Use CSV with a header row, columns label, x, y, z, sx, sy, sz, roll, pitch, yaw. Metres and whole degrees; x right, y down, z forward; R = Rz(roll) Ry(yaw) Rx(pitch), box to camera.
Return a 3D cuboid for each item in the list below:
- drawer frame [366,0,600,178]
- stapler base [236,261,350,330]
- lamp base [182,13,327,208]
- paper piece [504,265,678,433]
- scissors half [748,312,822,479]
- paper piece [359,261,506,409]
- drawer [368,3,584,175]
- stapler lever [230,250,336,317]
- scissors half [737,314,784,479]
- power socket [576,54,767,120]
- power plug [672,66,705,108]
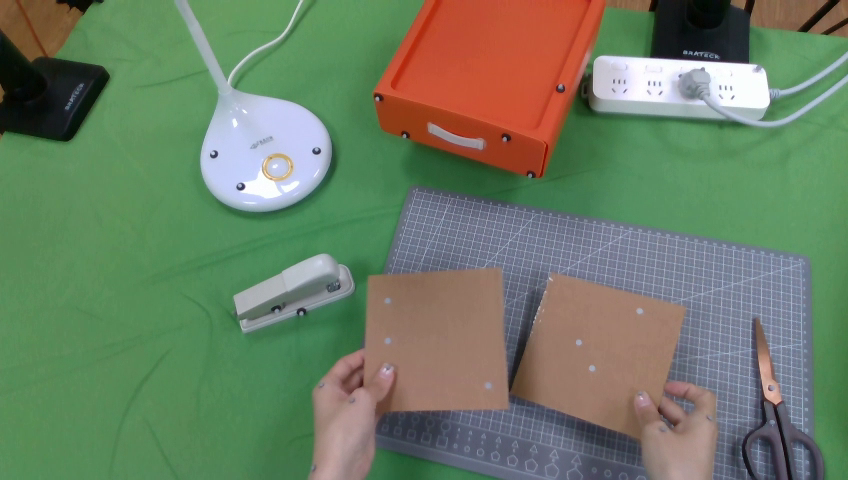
label,x,y,z,sx,sy,sz,roll,pitch,yaw
drawer frame,0.071,-0.203,0.699,0.201,0.083,0.212,19,67,13
stapler base,-0.147,0.056,0.663,0.130,0.024,0.041,-20,61,-5
lamp base,-0.212,-0.152,0.682,0.160,0.182,0.177,-40,65,-16
paper piece,0.160,0.099,0.591,0.134,0.004,0.135,17,69,32
scissors half,0.343,0.151,0.588,0.040,0.013,0.173,-5,62,-1
paper piece,0.007,0.089,0.572,0.136,0.009,0.137,-4,69,12
drawer,0.070,-0.198,0.695,0.194,0.074,0.210,19,65,13
stapler lever,-0.150,0.045,0.639,0.118,0.040,0.026,-21,61,-5
scissors half,0.323,0.151,0.588,0.040,0.013,0.174,13,61,2
power socket,0.306,-0.191,0.752,0.226,0.033,0.071,6,65,6
power plug,0.310,-0.174,0.718,0.035,0.053,0.072,15,66,11
